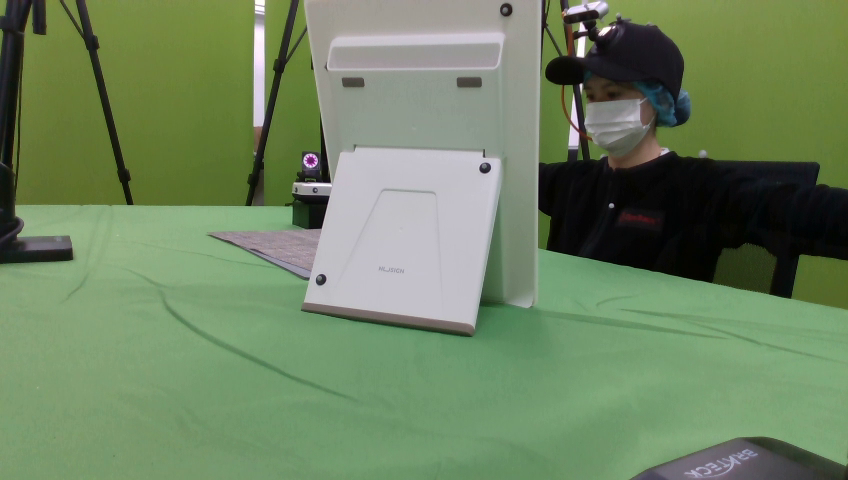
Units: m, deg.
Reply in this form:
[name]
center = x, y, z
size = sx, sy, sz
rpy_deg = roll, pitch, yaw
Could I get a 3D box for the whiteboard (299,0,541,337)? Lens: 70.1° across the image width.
[whiteboard]
center = -0.021, -0.051, 0.523
size = 0.216, 0.305, 0.144
rpy_deg = 6, 27, 20

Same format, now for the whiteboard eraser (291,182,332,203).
[whiteboard eraser]
center = -0.209, -0.097, 1.234
size = 0.113, 0.042, 0.055
rpy_deg = -3, 7, -35
